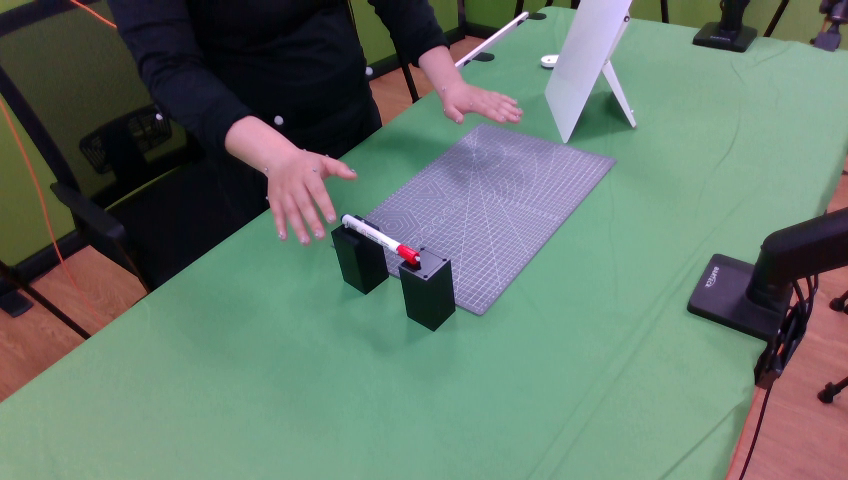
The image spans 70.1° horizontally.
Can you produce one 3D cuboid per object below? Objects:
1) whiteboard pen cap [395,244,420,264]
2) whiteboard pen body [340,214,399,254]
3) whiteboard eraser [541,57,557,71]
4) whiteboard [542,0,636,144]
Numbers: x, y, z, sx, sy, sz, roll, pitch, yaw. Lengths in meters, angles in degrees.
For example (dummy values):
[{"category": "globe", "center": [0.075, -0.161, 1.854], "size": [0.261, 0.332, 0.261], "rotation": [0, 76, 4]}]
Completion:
[{"category": "whiteboard pen cap", "center": [-0.023, 0.018, 0.800], "size": [0.032, 0.017, 0.017], "rotation": [29, 52, 36]}, {"category": "whiteboard pen body", "center": [-0.067, -0.004, 0.835], "size": [0.139, 0.017, 0.017], "rotation": [28, 52, 33]}, {"category": "whiteboard eraser", "center": [0.323, -0.412, 1.407], "size": [0.101, 0.019, 0.041], "rotation": [1, 42, 11]}, {"category": "whiteboard", "center": [0.366, -0.351, 1.160], "size": [0.144, 0.305, 0.216], "rotation": [10, 39, -10]}]
